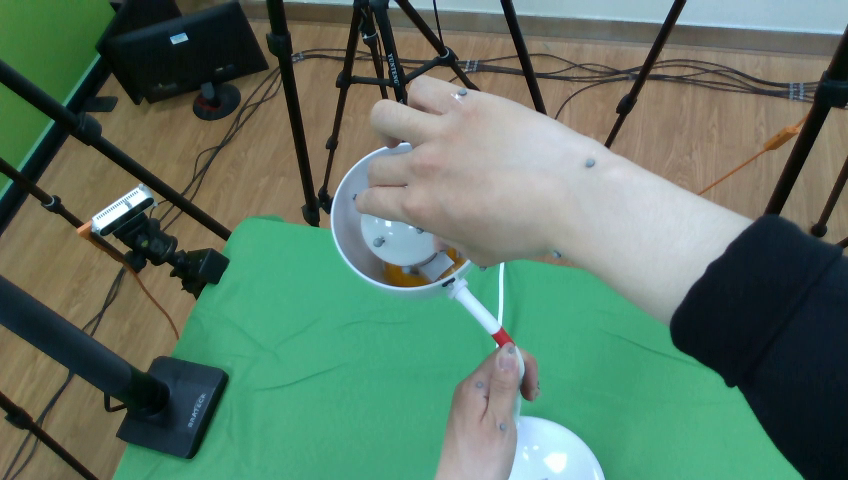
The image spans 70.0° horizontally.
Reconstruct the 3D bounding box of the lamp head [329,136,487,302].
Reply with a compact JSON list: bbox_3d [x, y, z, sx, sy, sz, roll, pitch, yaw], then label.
[{"bbox_3d":[-0.005,-0.002,0.471,0.112,0.124,0.111,-3,68,7],"label":"lamp head"}]

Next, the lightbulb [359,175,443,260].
[{"bbox_3d":[-0.014,-0.010,0.449,0.059,0.108,0.059,-1,76,6],"label":"lightbulb"}]

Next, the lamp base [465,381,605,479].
[{"bbox_3d":[0.111,0.231,0.642,0.161,0.182,0.177,-26,56,-7],"label":"lamp base"}]
